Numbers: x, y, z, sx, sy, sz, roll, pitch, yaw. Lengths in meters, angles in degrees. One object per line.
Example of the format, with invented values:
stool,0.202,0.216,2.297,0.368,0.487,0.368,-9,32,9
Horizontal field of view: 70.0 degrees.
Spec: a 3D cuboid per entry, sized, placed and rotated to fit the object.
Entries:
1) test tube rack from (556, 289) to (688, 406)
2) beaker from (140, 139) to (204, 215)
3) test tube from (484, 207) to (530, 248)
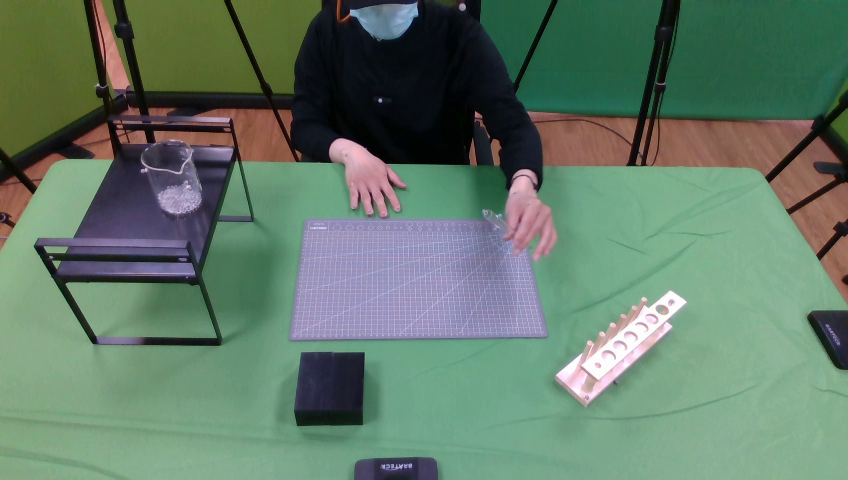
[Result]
test tube rack,0.332,0.165,1.014,0.242,0.085,0.066,-30,55,-28
beaker,-0.391,-0.095,0.954,0.074,0.101,0.083,-30,56,-27
test tube,0.142,-0.018,1.016,0.017,0.151,0.017,-16,60,30
